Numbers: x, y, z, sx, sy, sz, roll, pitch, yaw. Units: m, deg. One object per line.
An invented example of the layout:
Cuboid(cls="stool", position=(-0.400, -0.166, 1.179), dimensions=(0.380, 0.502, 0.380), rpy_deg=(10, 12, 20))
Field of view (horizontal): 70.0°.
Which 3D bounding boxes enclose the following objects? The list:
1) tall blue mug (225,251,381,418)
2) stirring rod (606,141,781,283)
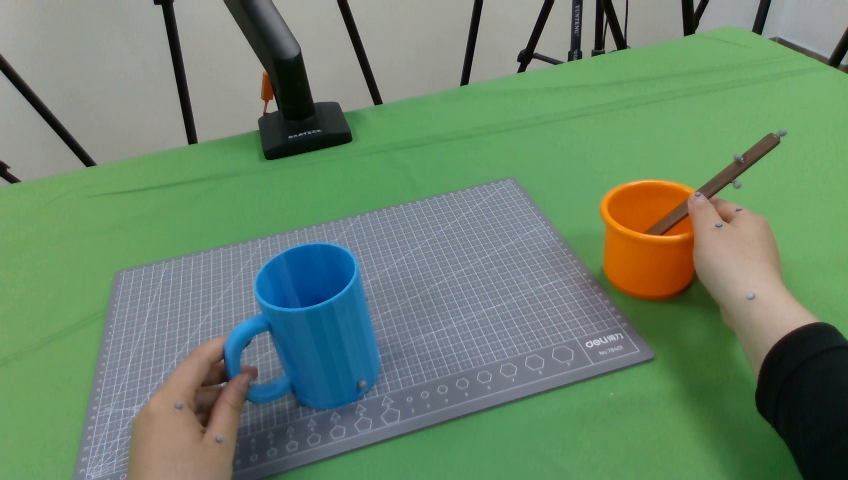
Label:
Cuboid(cls="tall blue mug", position=(-0.086, 0.083, 0.457), dimensions=(0.077, 0.109, 0.106), rpy_deg=(12, 41, 23))
Cuboid(cls="stirring rod", position=(0.228, -0.021, 0.523), dimensions=(0.176, 0.006, 0.014), rpy_deg=(-44, 33, 23))
